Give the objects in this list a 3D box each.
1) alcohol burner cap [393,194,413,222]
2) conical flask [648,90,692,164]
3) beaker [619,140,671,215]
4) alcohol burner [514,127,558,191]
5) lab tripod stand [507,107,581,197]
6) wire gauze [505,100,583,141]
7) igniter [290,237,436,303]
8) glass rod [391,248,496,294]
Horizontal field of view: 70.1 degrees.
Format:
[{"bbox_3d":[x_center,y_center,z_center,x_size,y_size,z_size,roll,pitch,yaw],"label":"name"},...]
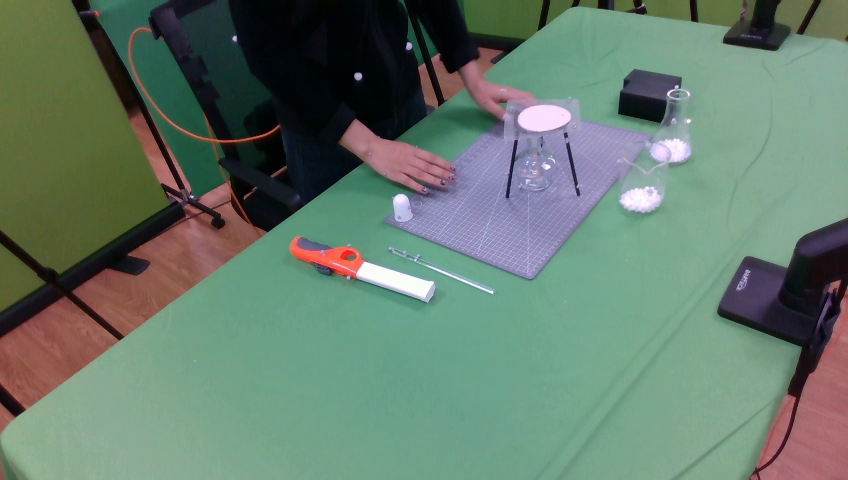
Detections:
[{"bbox_3d":[-0.038,-0.057,1.038,0.034,0.048,0.033,-5,41,5],"label":"alcohol burner cap"},{"bbox_3d":[0.437,-0.199,1.057,0.075,0.122,0.075,-5,40,5],"label":"conical flask"},{"bbox_3d":[0.352,-0.096,0.971,0.074,0.101,0.084,1,42,13],"label":"beaker"},{"bbox_3d":[0.192,-0.145,1.043,0.078,0.119,0.077,-5,42,5],"label":"alcohol burner"},{"bbox_3d":[0.201,-0.151,1.033,0.148,0.132,0.147,-7,39,6],"label":"lab tripod stand"},{"bbox_3d":[0.194,-0.200,0.987,0.121,0.011,0.124,-1,39,11],"label":"wire gauze"},{"bbox_3d":[-0.106,0.043,0.949,0.274,0.025,0.057,16,57,27],"label":"igniter"},{"bbox_3d":[0.026,0.045,0.936,0.198,0.008,0.008,21,49,31],"label":"glass rod"}]
